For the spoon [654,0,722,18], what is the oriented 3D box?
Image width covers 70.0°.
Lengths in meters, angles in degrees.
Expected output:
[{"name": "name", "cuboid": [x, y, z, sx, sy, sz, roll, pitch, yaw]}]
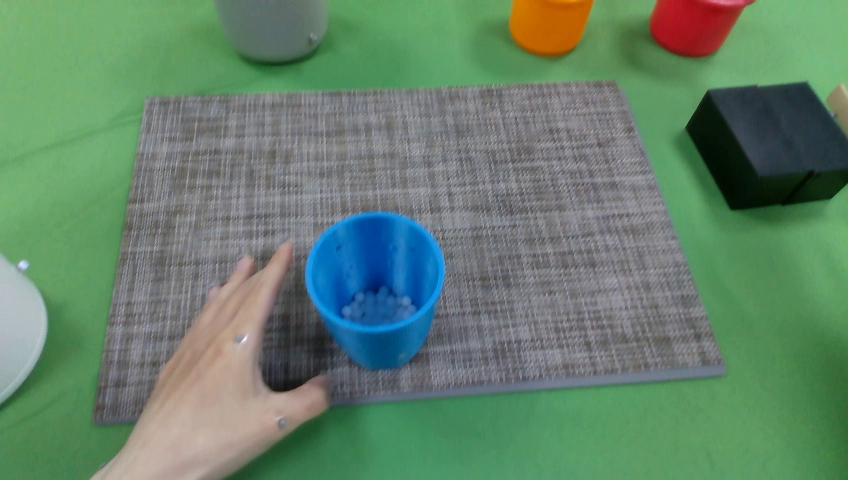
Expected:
[{"name": "spoon", "cuboid": [0.303, -0.236, 0.579, 0.041, 0.022, 0.192, -37, 24, -17]}]

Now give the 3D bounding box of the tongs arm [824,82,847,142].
[{"name": "tongs arm", "cuboid": [0.436, 0.017, 0.499, 0.051, 0.027, 0.381, -1, 60, -9]}]

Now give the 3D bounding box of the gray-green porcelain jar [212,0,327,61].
[{"name": "gray-green porcelain jar", "cuboid": [-0.146, -0.241, 0.561, 0.106, 0.127, 0.105, 2, 59, -2]}]

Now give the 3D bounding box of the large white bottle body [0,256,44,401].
[{"name": "large white bottle body", "cuboid": [-0.329, 0.029, 0.349, 0.131, 0.186, 0.129, 2, 59, -3]}]

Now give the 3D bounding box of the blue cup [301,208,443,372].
[{"name": "blue cup", "cuboid": [-0.032, 0.043, 0.406, 0.093, 0.101, 0.092, 1, 58, -1]}]

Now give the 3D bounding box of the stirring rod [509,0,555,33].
[{"name": "stirring rod", "cuboid": [0.155, -0.265, 0.591, 0.176, 0.006, 0.014, -37, 63, 24]}]
